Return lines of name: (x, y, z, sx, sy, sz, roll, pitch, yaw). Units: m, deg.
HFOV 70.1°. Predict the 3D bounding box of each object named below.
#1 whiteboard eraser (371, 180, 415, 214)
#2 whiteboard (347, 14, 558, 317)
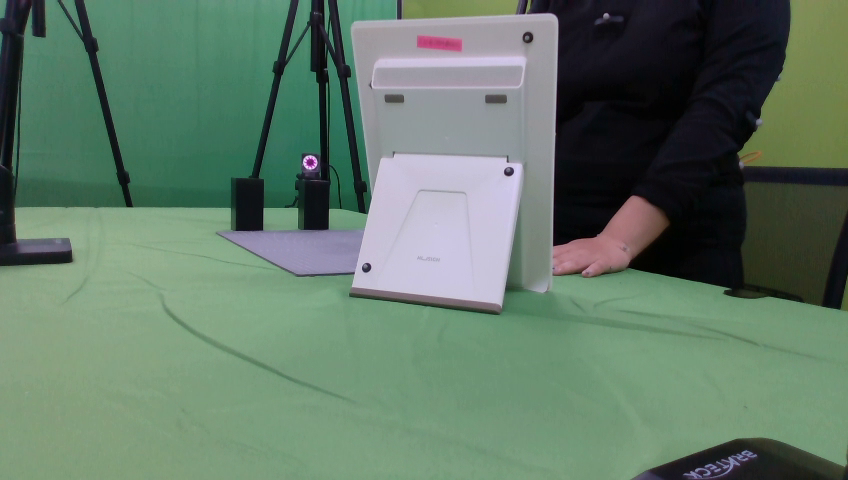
whiteboard eraser: (-0.045, -0.064, 0.896, 0.041, 0.019, 0.101, 2, -17, 21)
whiteboard: (0.012, -0.056, 0.608, 0.216, 0.305, 0.144, 5, 27, 20)
